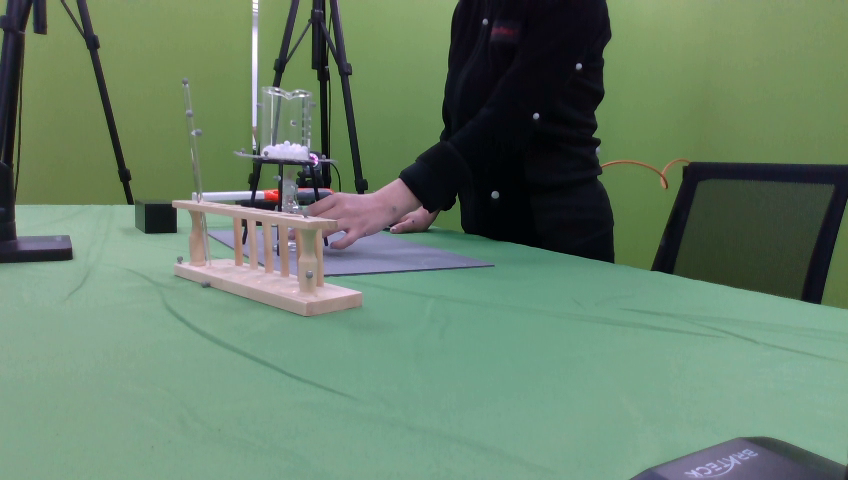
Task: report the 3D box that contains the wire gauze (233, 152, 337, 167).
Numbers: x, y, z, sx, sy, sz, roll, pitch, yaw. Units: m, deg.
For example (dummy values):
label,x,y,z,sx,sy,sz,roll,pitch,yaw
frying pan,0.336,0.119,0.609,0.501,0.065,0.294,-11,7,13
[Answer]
label,x,y,z,sx,sy,sz,roll,pitch,yaw
wire gauze,-0.205,-0.118,0.887,0.122,0.011,0.124,2,4,-32

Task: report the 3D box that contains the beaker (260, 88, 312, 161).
label,x,y,z,sx,sy,sz,roll,pitch,yaw
beaker,-0.201,-0.166,0.876,0.074,0.100,0.083,1,7,-18

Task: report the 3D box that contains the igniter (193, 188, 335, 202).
label,x,y,z,sx,sy,sz,roll,pitch,yaw
igniter,-0.312,-0.089,1.209,0.278,0.025,0.057,-5,13,-31

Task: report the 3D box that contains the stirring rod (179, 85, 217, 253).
label,x,y,z,sx,sy,sz,roll,pitch,yaw
stirring rod,-0.236,-0.073,0.634,0.006,0.176,0.014,0,10,41

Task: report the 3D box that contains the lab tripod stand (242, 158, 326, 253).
label,x,y,z,sx,sy,sz,roll,pitch,yaw
lab tripod stand,-0.207,-0.054,0.895,0.148,0.131,0.148,2,5,0

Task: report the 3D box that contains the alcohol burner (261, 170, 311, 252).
label,x,y,z,sx,sy,sz,roll,pitch,yaw
alcohol burner,-0.201,-0.043,0.891,0.078,0.119,0.078,1,6,0

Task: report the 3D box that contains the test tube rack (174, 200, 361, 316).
label,x,y,z,sx,sy,sz,roll,pitch,yaw
test tube rack,-0.169,0.009,0.622,0.241,0.085,0.067,9,9,41

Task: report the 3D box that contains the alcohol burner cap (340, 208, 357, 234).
label,x,y,z,sx,sy,sz,roll,pitch,yaw
alcohol burner cap,-0.142,-0.035,1.136,0.034,0.048,0.034,1,6,0
